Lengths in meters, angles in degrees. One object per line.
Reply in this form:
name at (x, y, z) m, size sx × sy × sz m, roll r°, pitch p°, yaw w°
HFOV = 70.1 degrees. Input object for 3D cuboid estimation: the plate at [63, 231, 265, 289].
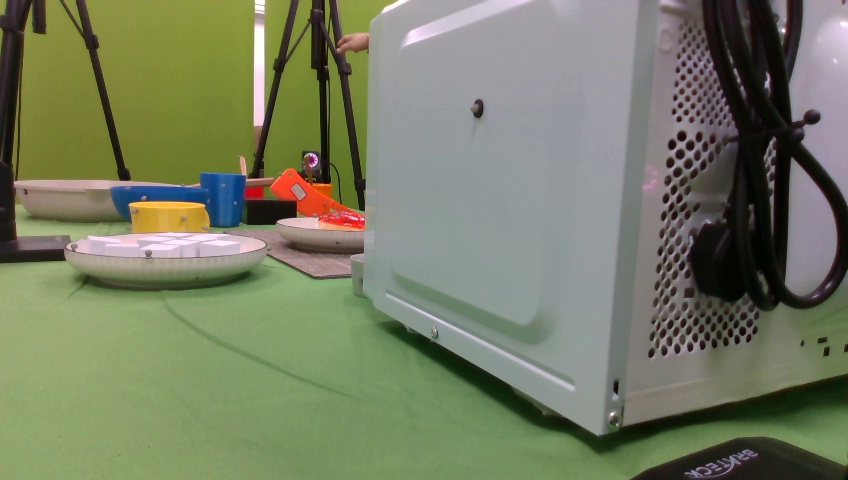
plate at (-0.288, 0.021, 0.687) m, size 0.208 × 0.039 × 0.207 m, roll 2°, pitch 8°, yaw 0°

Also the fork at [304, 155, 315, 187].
fork at (-0.267, -0.133, 1.446) m, size 0.028 × 0.018 × 0.207 m, roll 2°, pitch -36°, yaw 0°

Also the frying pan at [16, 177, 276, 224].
frying pan at (-0.554, -0.097, 1.266) m, size 0.490 × 0.102 × 0.305 m, roll -10°, pitch 13°, yaw -24°

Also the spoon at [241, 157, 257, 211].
spoon at (-0.432, -0.140, 1.472) m, size 0.042 × 0.021 × 0.193 m, roll -1°, pitch 52°, yaw -19°

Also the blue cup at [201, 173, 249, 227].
blue cup at (-0.384, -0.077, 1.164) m, size 0.093 × 0.100 × 0.092 m, roll 2°, pitch 6°, yaw 0°

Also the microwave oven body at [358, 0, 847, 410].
microwave oven body at (0.210, -0.051, 0.471) m, size 0.444 × 0.260 × 0.324 m, roll -1°, pitch 7°, yaw -28°

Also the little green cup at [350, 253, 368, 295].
little green cup at (-0.048, 0.035, 0.632) m, size 0.061 × 0.038 × 0.061 m, roll 3°, pitch 6°, yaw 0°

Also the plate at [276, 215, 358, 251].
plate at (-0.126, -0.012, 0.950) m, size 0.209 × 0.038 × 0.209 m, roll 2°, pitch 7°, yaw 0°

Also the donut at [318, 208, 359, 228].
donut at (-0.118, -0.024, 0.954) m, size 0.099 × 0.048 × 0.099 m, roll 5°, pitch 7°, yaw 0°

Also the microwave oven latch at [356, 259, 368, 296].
microwave oven latch at (-0.019, 0.031, 0.528) m, size 0.079 × 0.029 × 0.030 m, roll -1°, pitch 7°, yaw -24°

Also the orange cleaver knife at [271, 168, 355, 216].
orange cleaver knife at (-0.236, -0.084, 1.332) m, size 0.212 × 0.077 × 0.012 m, roll 31°, pitch -10°, yaw -32°

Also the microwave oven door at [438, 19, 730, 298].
microwave oven door at (0.181, -0.076, 0.618) m, size 0.358 × 0.243 × 0.039 m, roll -2°, pitch 8°, yaw -28°

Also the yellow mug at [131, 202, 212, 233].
yellow mug at (-0.356, -0.020, 0.878) m, size 0.099 × 0.064 × 0.131 m, roll 5°, pitch 7°, yaw 21°

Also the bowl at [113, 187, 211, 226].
bowl at (-0.436, -0.046, 1.013) m, size 0.151 × 0.077 × 0.151 m, roll 2°, pitch 7°, yaw 0°
